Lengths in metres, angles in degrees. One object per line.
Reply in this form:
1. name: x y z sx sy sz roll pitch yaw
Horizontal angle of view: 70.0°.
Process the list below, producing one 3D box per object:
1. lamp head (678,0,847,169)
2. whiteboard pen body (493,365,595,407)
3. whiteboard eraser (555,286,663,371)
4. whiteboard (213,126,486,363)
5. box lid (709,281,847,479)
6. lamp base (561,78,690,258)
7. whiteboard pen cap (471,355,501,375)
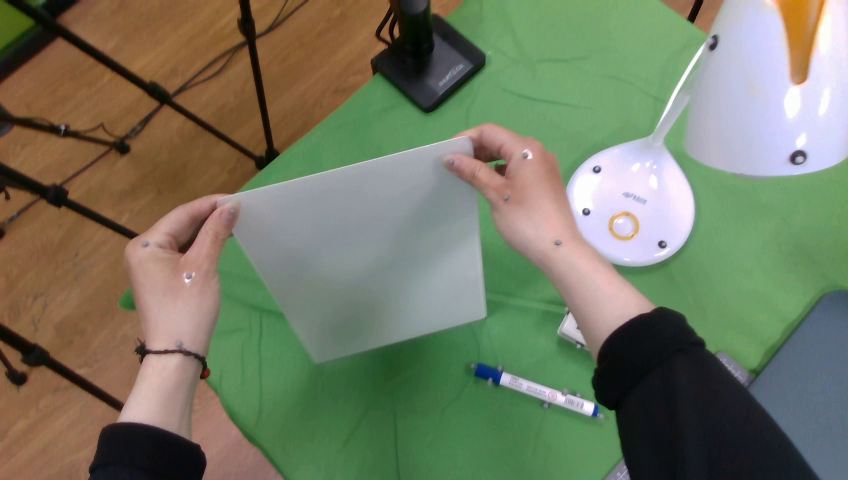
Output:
1. lamp head: 0.237 -0.126 0.419 0.112 0.124 0.111 -8 27 4
2. whiteboard pen body: 0.128 0.165 0.701 0.140 0.017 0.017 16 72 9
3. whiteboard eraser: 0.214 0.103 0.707 0.112 0.042 0.055 28 77 11
4. whiteboard: -0.062 -0.023 0.653 0.217 0.308 0.142 -14 52 -2
5. box lid: 0.531 0.246 0.659 0.369 0.015 0.263 43 78 15
6. lamp base: 0.253 -0.090 0.697 0.160 0.181 0.178 13 69 7
7. whiteboard pen cap: 0.074 0.146 0.710 0.033 0.018 0.018 16 72 11
